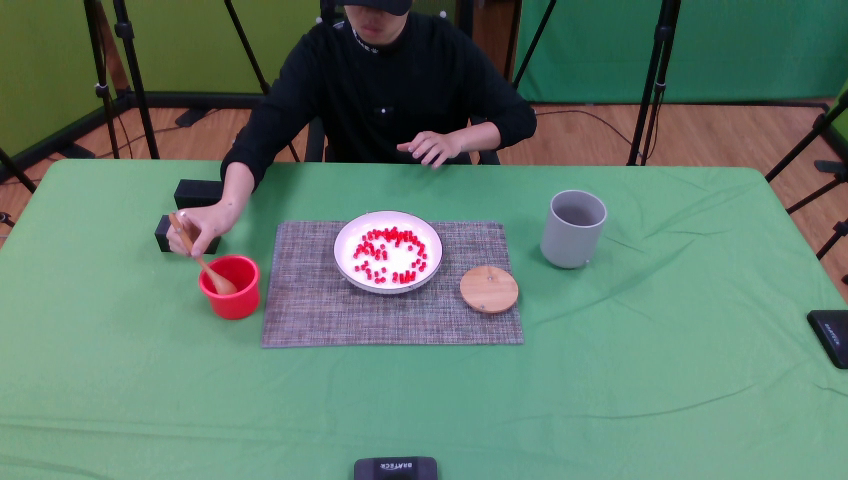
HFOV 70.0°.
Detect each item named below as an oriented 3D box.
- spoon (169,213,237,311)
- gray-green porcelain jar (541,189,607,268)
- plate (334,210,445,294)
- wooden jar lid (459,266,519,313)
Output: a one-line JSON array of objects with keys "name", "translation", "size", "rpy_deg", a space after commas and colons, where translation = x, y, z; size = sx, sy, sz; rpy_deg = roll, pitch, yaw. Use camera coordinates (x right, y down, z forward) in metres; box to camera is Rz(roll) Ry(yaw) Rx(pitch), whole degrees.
[{"name": "spoon", "translation": [-0.369, 0.039, 1.010], "size": [0.021, 0.194, 0.041], "rpy_deg": [-14, 26, 34]}, {"name": "gray-green porcelain jar", "translation": [0.283, -0.017, 1.161], "size": [0.106, 0.127, 0.105], "rpy_deg": [2, 46, -2]}, {"name": "plate", "translation": [-0.066, 0.026, 1.150], "size": [0.208, 0.039, 0.206], "rpy_deg": [2, 46, -2]}, {"name": "wooden jar lid", "translation": [0.118, 0.093, 1.111], "size": [0.108, 0.021, 0.107], "rpy_deg": [2, 47, -1]}]
